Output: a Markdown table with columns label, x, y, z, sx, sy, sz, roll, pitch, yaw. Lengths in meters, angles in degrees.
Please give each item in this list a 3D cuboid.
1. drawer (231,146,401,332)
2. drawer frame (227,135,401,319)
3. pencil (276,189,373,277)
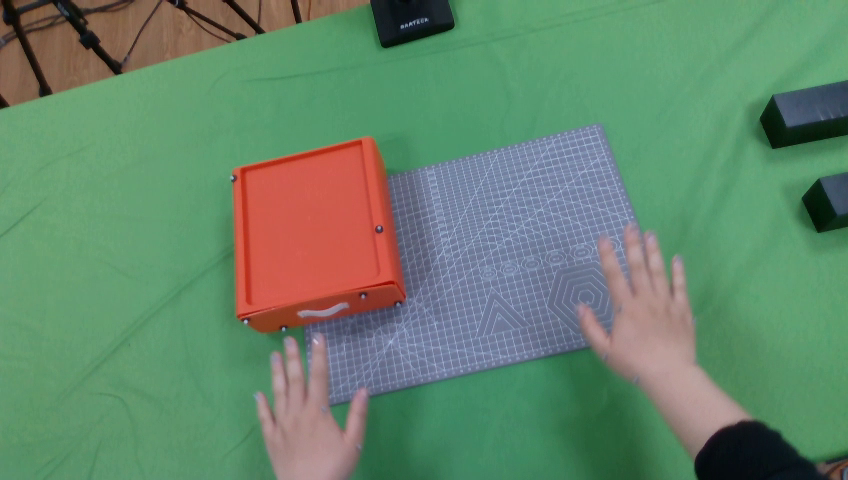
| label | x | y | z | sx | sy | sz | roll | pitch | yaw |
| --- | --- | --- | --- | --- | --- | --- | --- | --- | --- |
| drawer | -0.144 | -0.002 | 0.789 | 0.194 | 0.074 | 0.210 | -13 | 64 | 5 |
| drawer frame | -0.147 | -0.007 | 0.791 | 0.201 | 0.083 | 0.211 | -14 | 65 | 5 |
| pencil | -0.136 | -0.011 | 0.819 | 0.192 | 0.012 | 0.012 | 40 | 79 | 20 |
